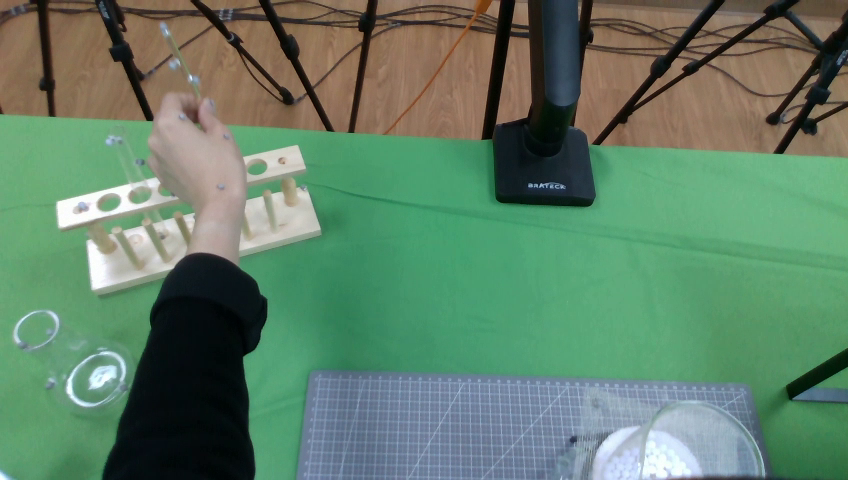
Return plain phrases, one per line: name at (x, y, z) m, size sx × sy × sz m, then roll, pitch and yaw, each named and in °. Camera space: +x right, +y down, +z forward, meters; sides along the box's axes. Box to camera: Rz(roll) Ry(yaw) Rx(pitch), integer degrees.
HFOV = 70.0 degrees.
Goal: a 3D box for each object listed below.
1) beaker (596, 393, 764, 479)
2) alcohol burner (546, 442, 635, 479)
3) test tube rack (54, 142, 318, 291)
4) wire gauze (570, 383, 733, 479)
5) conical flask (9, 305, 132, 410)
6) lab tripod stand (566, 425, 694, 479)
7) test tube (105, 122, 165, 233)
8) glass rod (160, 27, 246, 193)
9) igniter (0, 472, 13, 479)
beaker at (0.158, 0.154, 0.398) m, size 0.084 × 0.101 × 0.073 m, roll -18°, pitch 62°, yaw -14°
alcohol burner at (0.146, 0.206, 0.511) m, size 0.078 × 0.120 × 0.077 m, roll 3°, pitch 58°, yaw -4°
test tube rack at (-0.243, -0.026, 0.645) m, size 0.243 × 0.086 × 0.066 m, roll -16°, pitch 61°, yaw -13°
wire gauze at (0.167, 0.175, 0.442) m, size 0.121 × 0.011 × 0.124 m, roll 15°, pitch 57°, yaw 3°
conical flask at (-0.320, 0.100, 0.543) m, size 0.075 × 0.123 × 0.074 m, roll 2°, pitch 58°, yaw -2°
lab tripod stand at (0.157, 0.213, 0.496) m, size 0.148 × 0.132 × 0.147 m, roll 3°, pitch 58°, yaw -4°
test tube at (-0.284, -0.057, 0.603) m, size 0.017 × 0.151 × 0.017 m, roll 3°, pitch 52°, yaw -3°
glass rod at (-0.204, -0.112, 0.574) m, size 0.008 × 0.201 × 0.008 m, roll -3°, pitch 52°, yaw 4°
igniter at (-0.415, 0.286, 0.426) m, size 0.057 × 0.025 × 0.275 m, roll 26°, pitch 60°, yaw 22°
